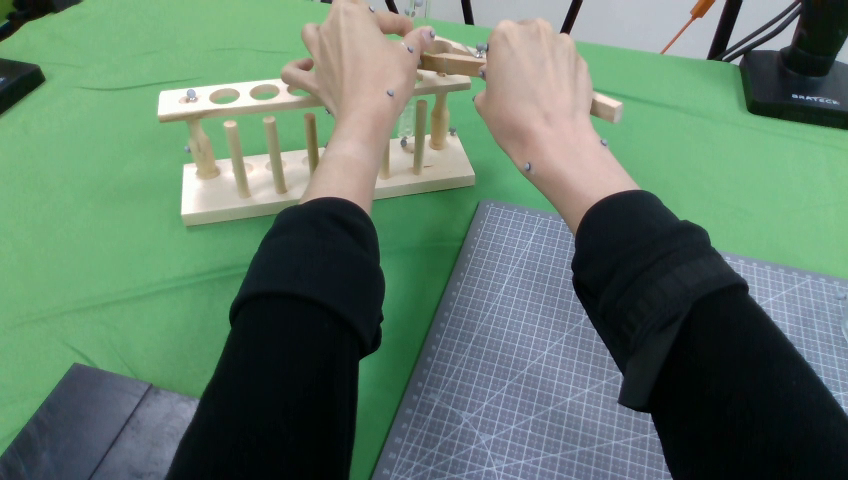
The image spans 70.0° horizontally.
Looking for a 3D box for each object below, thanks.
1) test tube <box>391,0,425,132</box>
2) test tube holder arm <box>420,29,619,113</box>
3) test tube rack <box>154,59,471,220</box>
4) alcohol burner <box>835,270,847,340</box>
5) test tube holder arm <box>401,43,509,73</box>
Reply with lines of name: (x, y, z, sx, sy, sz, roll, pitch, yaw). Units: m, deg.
test tube: (-0.013, -0.149, 0.488, 0.017, 0.151, 0.017, 5, 47, -5)
test tube holder arm: (0.062, -0.126, 0.439, 0.176, 0.015, 0.013, 30, 58, 33)
test tube rack: (-0.083, -0.087, 0.500, 0.243, 0.086, 0.066, -10, 48, -11)
alcohol burner: (0.321, 0.025, 0.387, 0.078, 0.120, 0.077, 2, 45, -2)
test tube holder arm: (0.024, -0.138, 0.458, 0.087, 0.015, 0.010, 12, 48, 22)
